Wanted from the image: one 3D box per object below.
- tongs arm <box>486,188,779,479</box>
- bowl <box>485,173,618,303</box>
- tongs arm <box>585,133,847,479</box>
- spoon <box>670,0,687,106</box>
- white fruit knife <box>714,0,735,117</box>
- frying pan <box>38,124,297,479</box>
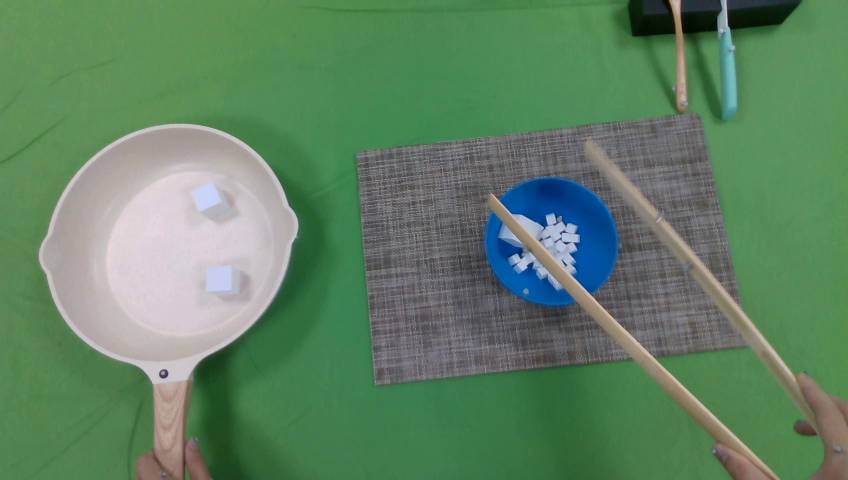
[{"bbox_3d":[0.181,0.080,0.531,0.028,0.028,0.384,-34,62,-17],"label":"tongs arm"},{"bbox_3d":[0.144,0.005,0.717,0.151,0.077,0.150,0,77,2],"label":"bowl"},{"bbox_3d":[0.240,0.047,0.541,0.051,0.027,0.381,-27,61,-9],"label":"tongs arm"},{"bbox_3d":[0.322,-0.270,0.768,0.041,0.022,0.194,4,99,25],"label":"spoon"},{"bbox_3d":[0.379,-0.262,0.770,0.016,0.027,0.207,-5,92,-3],"label":"white fruit knife"},{"bbox_3d":[-0.290,0.101,0.703,0.307,0.103,0.484,-6,69,2],"label":"frying pan"}]
